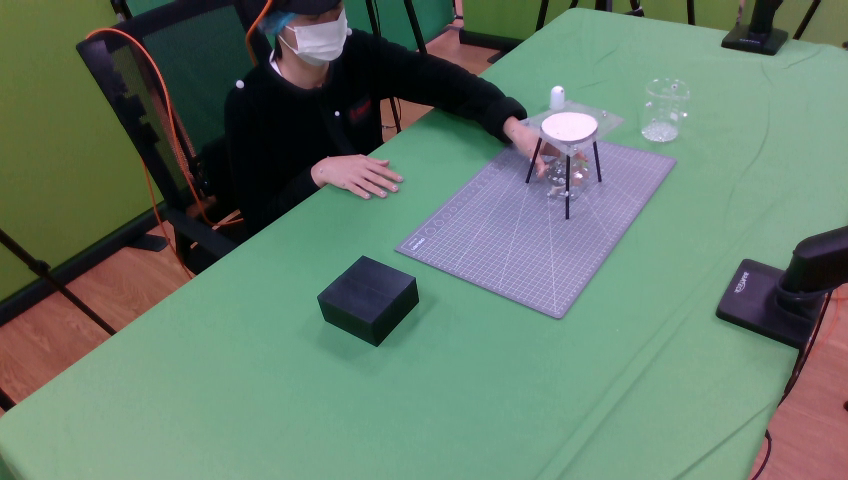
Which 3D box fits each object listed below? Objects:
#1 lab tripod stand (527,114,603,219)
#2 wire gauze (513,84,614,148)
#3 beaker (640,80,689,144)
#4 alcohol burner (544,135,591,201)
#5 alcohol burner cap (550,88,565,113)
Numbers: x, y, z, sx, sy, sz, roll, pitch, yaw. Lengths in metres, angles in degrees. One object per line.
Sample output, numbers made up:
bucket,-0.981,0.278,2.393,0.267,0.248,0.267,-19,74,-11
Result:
lab tripod stand,0.234,-0.129,1.002,0.148,0.132,0.147,-6,40,6
wire gauze,0.220,-0.194,0.951,0.120,0.011,0.125,23,56,25
beaker,0.446,-0.235,1.126,0.074,0.101,0.083,-34,47,-27
alcohol burner,0.240,-0.125,1.011,0.078,0.119,0.077,-5,42,5
alcohol burner cap,0.281,-0.296,1.271,0.034,0.048,0.033,-5,41,5
